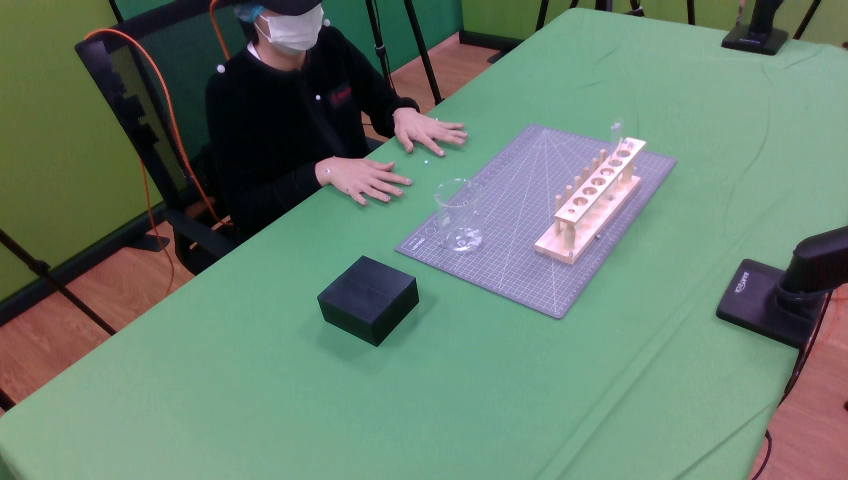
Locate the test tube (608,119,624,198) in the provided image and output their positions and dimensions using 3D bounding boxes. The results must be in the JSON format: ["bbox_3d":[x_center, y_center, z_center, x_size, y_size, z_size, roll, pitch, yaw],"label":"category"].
[{"bbox_3d":[0.300,-0.124,0.945,0.017,0.151,0.017,-6,44,7],"label":"test tube"}]

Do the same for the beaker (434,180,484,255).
[{"bbox_3d":[0.058,-0.035,0.944,0.073,0.101,0.084,16,44,26],"label":"beaker"}]

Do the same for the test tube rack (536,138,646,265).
[{"bbox_3d":[0.269,-0.071,0.964,0.066,0.085,0.243,23,49,32],"label":"test tube rack"}]
